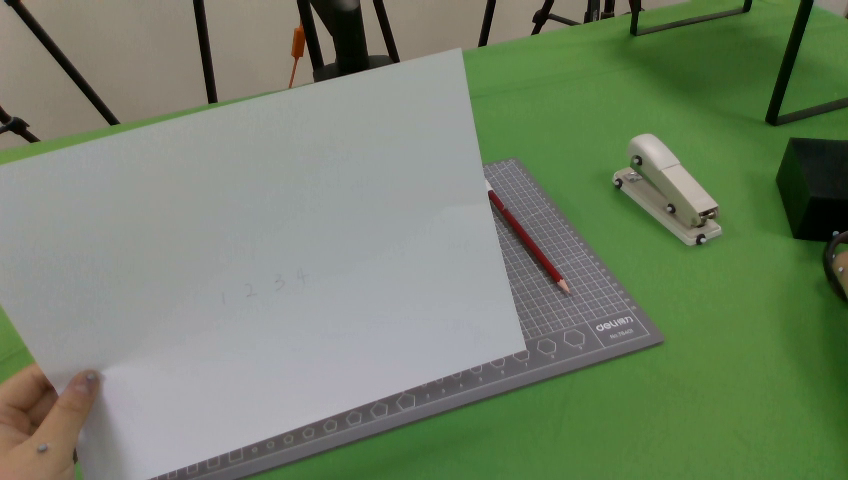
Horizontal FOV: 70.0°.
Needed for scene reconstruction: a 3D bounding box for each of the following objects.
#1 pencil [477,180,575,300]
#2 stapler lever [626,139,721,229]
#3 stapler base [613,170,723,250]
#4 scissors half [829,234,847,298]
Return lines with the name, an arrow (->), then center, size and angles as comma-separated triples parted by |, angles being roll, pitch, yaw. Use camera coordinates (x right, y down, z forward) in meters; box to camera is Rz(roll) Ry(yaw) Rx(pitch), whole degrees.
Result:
pencil -> 0.097, -0.005, 0.597 | 0.012, 0.012, 0.191 | -18, 43, -13
stapler lever -> 0.243, -0.059, 0.596 | 0.027, 0.040, 0.116 | -20, 44, -12
stapler base -> 0.244, -0.041, 0.614 | 0.041, 0.025, 0.129 | -20, 44, -12
scissors half -> 0.376, -0.029, 0.522 | 0.040, 0.013, 0.174 | 18, 70, 7
